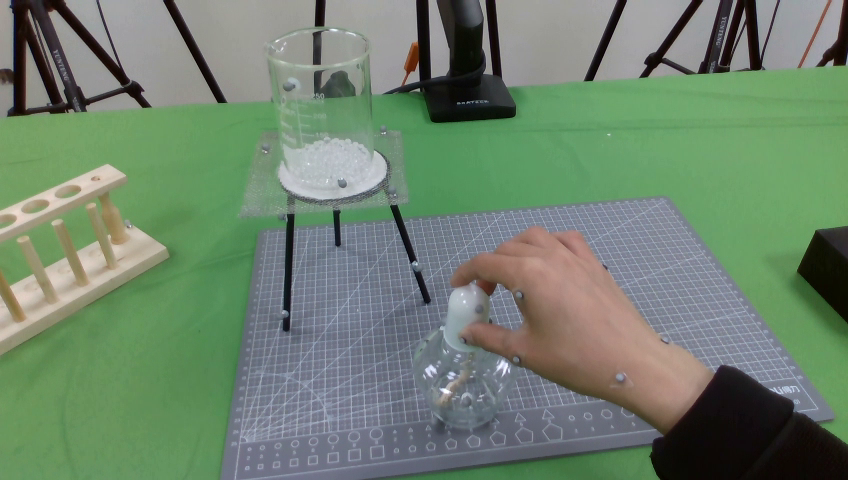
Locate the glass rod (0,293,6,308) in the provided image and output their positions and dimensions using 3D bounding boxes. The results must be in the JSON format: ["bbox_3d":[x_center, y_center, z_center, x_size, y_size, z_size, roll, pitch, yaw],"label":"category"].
[{"bbox_3d":[-0.377,-0.026,0.490,0.008,0.201,0.008,0,31,0],"label":"glass rod"}]

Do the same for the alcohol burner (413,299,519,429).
[{"bbox_3d":[0.031,0.080,0.431,0.078,0.120,0.077,0,41,0],"label":"alcohol burner"}]

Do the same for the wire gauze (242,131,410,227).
[{"bbox_3d":[-0.075,-0.055,0.480,0.121,0.011,0.124,-3,40,-4],"label":"wire gauze"}]

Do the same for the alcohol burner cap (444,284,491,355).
[{"bbox_3d":[0.031,0.051,0.408,0.034,0.048,0.033,2,41,-2],"label":"alcohol burner cap"}]

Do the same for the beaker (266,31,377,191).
[{"bbox_3d":[-0.075,-0.095,0.451,0.083,0.101,0.074,20,42,22],"label":"beaker"}]

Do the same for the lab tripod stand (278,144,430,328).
[{"bbox_3d":[-0.066,-0.005,0.523,0.148,0.132,0.147,1,37,0],"label":"lab tripod stand"}]

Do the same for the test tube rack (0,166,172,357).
[{"bbox_3d":[-0.353,0.032,0.523,0.066,0.086,0.242,26,45,30],"label":"test tube rack"}]
